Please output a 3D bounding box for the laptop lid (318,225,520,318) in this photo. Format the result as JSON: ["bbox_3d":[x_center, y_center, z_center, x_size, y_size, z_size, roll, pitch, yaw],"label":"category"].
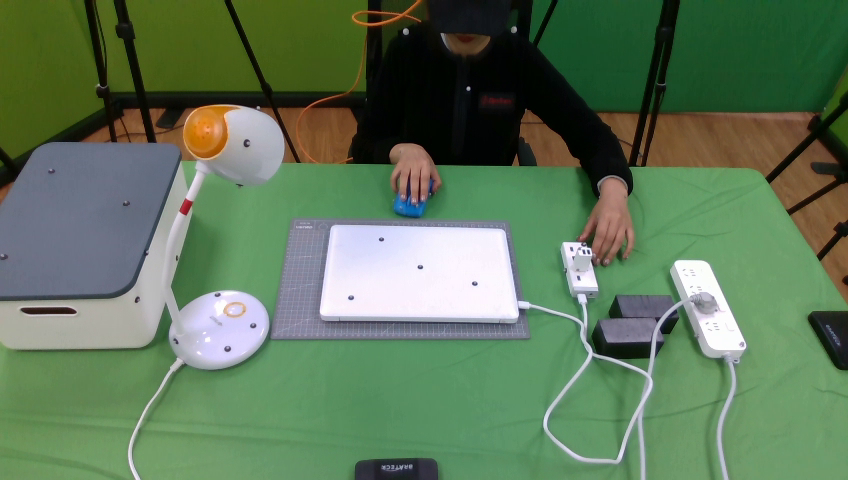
[{"bbox_3d":[-0.009,0.052,1.130,0.357,0.013,0.240,2,43,-2],"label":"laptop lid"}]

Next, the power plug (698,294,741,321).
[{"bbox_3d":[0.515,0.127,1.070,0.035,0.053,0.072,-18,56,-7],"label":"power plug"}]

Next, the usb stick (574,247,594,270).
[{"bbox_3d":[0.298,0.040,1.135,0.027,0.059,0.021,2,46,-4],"label":"usb stick"}]

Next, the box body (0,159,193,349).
[{"bbox_3d":[-0.570,0.006,1.054,0.254,0.161,0.361,-1,46,-4],"label":"box body"}]

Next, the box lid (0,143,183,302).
[{"bbox_3d":[-0.567,-0.045,0.999,0.263,0.015,0.369,-1,46,-4],"label":"box lid"}]

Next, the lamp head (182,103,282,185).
[{"bbox_3d":[-0.271,-0.133,0.825,0.112,0.112,0.123,20,8,15],"label":"lamp head"}]

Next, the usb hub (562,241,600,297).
[{"bbox_3d":[0.300,0.055,1.162,0.049,0.025,0.124,2,46,-3],"label":"usb hub"}]

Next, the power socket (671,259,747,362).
[{"bbox_3d":[0.516,0.119,1.108,0.072,0.033,0.225,0,46,-2],"label":"power socket"}]

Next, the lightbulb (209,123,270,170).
[{"bbox_3d":[-0.260,-0.135,0.847,0.059,0.108,0.059,-4,79,20],"label":"lightbulb"}]

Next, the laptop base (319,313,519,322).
[{"bbox_3d":[-0.009,0.062,1.137,0.354,0.023,0.234,1,42,-3],"label":"laptop base"}]

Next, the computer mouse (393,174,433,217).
[{"bbox_3d":[-0.022,-0.098,1.282,0.063,0.041,0.116,14,49,7],"label":"computer mouse"}]

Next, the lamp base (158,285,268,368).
[{"bbox_3d":[-0.348,0.102,0.963,0.160,0.181,0.178,23,51,18],"label":"lamp base"}]
